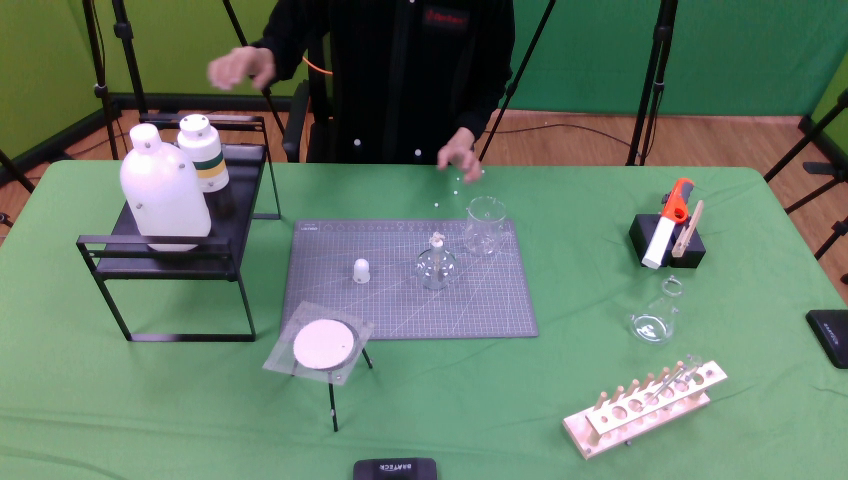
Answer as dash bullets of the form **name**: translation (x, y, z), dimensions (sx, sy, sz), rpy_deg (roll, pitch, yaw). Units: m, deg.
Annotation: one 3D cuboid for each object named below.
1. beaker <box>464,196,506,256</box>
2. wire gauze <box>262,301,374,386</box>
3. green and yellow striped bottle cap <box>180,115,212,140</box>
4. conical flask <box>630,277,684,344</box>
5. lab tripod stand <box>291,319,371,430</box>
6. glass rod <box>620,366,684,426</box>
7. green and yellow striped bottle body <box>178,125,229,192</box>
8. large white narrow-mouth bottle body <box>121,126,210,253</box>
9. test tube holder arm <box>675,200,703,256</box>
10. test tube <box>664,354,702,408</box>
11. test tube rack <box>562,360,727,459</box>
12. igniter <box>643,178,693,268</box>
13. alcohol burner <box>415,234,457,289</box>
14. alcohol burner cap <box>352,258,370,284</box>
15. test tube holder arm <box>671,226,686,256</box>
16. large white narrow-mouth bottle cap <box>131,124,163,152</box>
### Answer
- **beaker**: translation (0.117, -0.026, 1.174), dimensions (0.074, 0.101, 0.083), rpy_deg (21, 48, 15)
- **wire gauze**: translation (-0.150, 0.148, 0.873), dimensions (0.121, 0.011, 0.124), rpy_deg (14, 46, 12)
- **green and yellow striped bottle cap**: translation (-0.358, -0.177, 0.951), dimensions (0.045, 0.020, 0.045), rpy_deg (2, 45, -1)
- **conical flask**: translation (0.408, 0.117, 1.045), dimensions (0.075, 0.122, 0.075), rpy_deg (2, 46, -2)
- **lab tripod stand**: translation (-0.146, 0.193, 0.923), dimensions (0.148, 0.132, 0.147), rpy_deg (1, 47, -1)
- **glass rod**: translation (0.322, 0.227, 0.866), dimensions (0.008, 0.200, 0.008), rpy_deg (6, 51, -7)
- **green and yellow striped bottle body**: translation (-0.361, -0.142, 0.989), dimensions (0.063, 0.120, 0.063), rpy_deg (2, 46, -2)
- **large white narrow-mouth bottle body**: translation (-0.378, -0.078, 0.875), dimensions (0.102, 0.195, 0.101), rpy_deg (3, 46, -3)
- **test tube holder arm**: translation (0.523, -0.025, 1.190), dimensions (0.013, 0.015, 0.178), rpy_deg (1, 36, 41)
- **test tube**: translation (0.385, 0.215, 0.906), dimensions (0.017, 0.151, 0.017), rpy_deg (-1, 49, 1)
- **test tube rack**: translation (0.341, 0.247, 0.940), dimensions (0.243, 0.085, 0.066), rpy_deg (-16, 49, -18)
- **igniter**: translation (0.488, -0.042, 1.205), dimensions (0.057, 0.025, 0.276), rpy_deg (30, 51, 11)
- **alcohol burner**: translation (0.022, 0.033, 1.099), dimensions (0.078, 0.120, 0.077), rpy_deg (1, 47, -1)
- **alcohol burner cap**: translation (-0.117, 0.055, 1.118), dimensions (0.034, 0.048, 0.033), rpy_deg (2, 46, -1)
- **test tube holder arm**: translation (0.494, 0.001, 1.167), dimensions (0.010, 0.015, 0.087), rpy_deg (1, 36, 42)
- **large white narrow-mouth bottle cap**: translation (-0.371, -0.137, 0.813), dimensions (0.038, 0.024, 0.037), rpy_deg (3, 46, -3)
